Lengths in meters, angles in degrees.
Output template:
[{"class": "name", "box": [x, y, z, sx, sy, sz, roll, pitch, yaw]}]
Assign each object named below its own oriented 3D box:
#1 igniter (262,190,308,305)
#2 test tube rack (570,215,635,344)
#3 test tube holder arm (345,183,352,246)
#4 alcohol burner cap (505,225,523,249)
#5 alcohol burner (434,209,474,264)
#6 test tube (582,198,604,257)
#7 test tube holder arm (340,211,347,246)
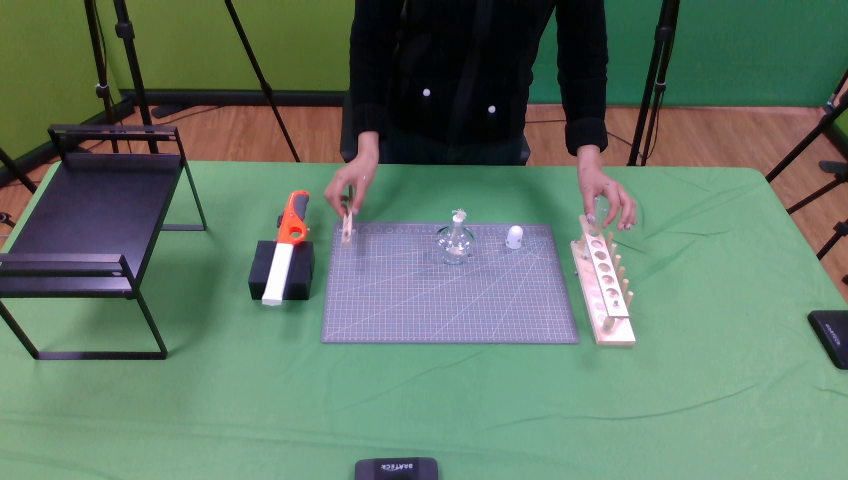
[{"class": "igniter", "box": [-0.252, 0.004, 1.107, 0.057, 0.025, 0.275, 7, 47, -6]}, {"class": "test tube rack", "box": [0.333, 0.067, 1.116, 0.067, 0.085, 0.240, 1, 46, -3]}, {"class": "test tube holder arm", "box": [-0.147, -0.053, 1.185, 0.013, 0.015, 0.177, -2, 43, -1]}, {"class": "alcohol burner cap", "box": [0.180, -0.009, 1.203, 0.034, 0.048, 0.033, 2, 46, -2]}, {"class": "alcohol burner", "box": [0.058, -0.011, 1.147, 0.078, 0.119, 0.077, 3, 44, -3]}, {"class": "test tube", "box": [0.314, -0.020, 1.129, 0.017, 0.151, 0.017, -1, 47, 1]}, {"class": "test tube holder arm", "box": [-0.151, -0.023, 1.152, 0.010, 0.015, 0.087, -2, 43, -1]}]
